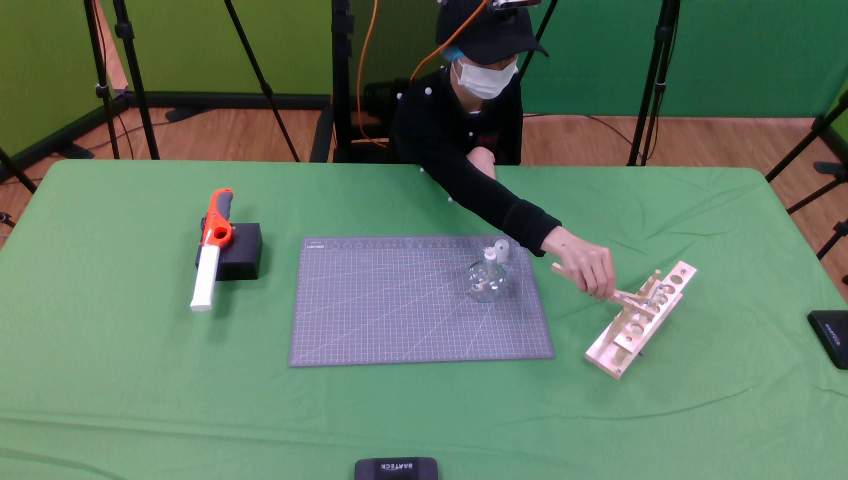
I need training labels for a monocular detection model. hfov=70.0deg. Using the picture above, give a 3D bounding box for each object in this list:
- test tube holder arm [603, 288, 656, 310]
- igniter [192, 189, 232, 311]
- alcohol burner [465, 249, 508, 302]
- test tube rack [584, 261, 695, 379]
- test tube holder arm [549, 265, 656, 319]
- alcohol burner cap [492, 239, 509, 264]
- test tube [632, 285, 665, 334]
[{"bbox_3d":[0.332,0.096,0.986,0.088,0.015,0.010,13,39,0],"label":"test tube holder arm"},{"bbox_3d":[-0.381,0.008,1.092,0.057,0.025,0.274,-1,50,-7],"label":"igniter"},{"bbox_3d":[0.114,0.057,1.085,0.078,0.120,0.077,2,48,-2],"label":"alcohol burner"},{"bbox_3d":[0.380,0.127,1.062,0.066,0.085,0.242,34,53,26],"label":"test tube rack"},{"bbox_3d":[0.289,0.084,0.989,0.178,0.015,0.013,24,39,13],"label":"test tube holder arm"},{"bbox_3d":[0.150,0.020,1.174,0.034,0.048,0.033,1,46,-1],"label":"alcohol burner cap"},{"bbox_3d":[0.362,0.125,0.993,0.017,0.151,0.017,2,48,-2],"label":"test tube"}]
